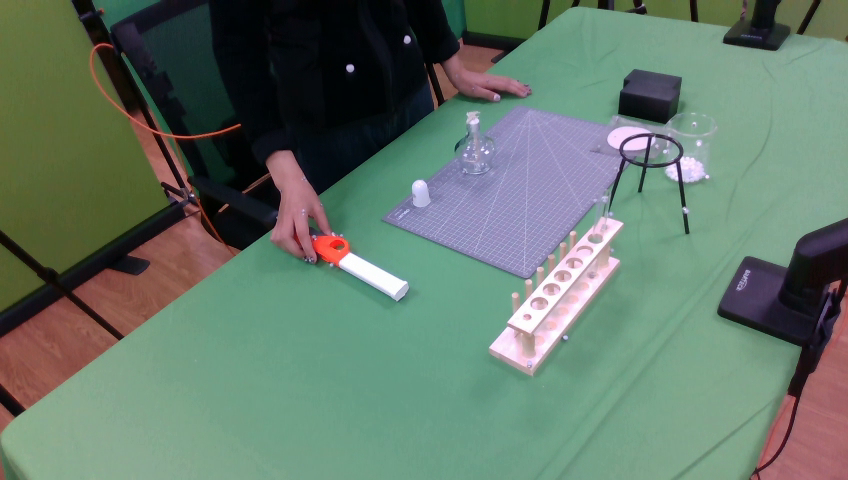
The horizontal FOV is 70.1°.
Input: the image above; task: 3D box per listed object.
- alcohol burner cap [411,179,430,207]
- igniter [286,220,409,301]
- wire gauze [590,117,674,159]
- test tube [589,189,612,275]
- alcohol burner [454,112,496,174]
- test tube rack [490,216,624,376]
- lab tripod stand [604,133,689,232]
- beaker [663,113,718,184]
[{"bbox_3d":[-0.008,-0.085,1.063,0.034,0.048,0.033,-4,40,4],"label":"alcohol burner cap"},{"bbox_3d":[-0.133,0.027,0.969,0.274,0.025,0.057,26,56,35],"label":"igniter"},{"bbox_3d":[0.393,-0.192,1.139,0.120,0.011,0.125,19,47,28],"label":"wire gauze"},{"bbox_3d":[0.238,-0.007,0.818,0.017,0.151,0.017,-3,43,4],"label":"test tube"},{"bbox_3d":[0.092,-0.181,1.102,0.078,0.119,0.077,-5,42,5],"label":"alcohol burner"},{"bbox_3d":[0.184,0.064,0.822,0.066,0.085,0.243,24,50,33],"label":"test tube rack"},{"bbox_3d":[0.347,-0.086,0.933,0.148,0.132,0.147,-4,40,4],"label":"lab tripod stand"},{"bbox_3d":[0.442,-0.151,1.018,0.084,0.101,0.074,-1,40,11],"label":"beaker"}]
